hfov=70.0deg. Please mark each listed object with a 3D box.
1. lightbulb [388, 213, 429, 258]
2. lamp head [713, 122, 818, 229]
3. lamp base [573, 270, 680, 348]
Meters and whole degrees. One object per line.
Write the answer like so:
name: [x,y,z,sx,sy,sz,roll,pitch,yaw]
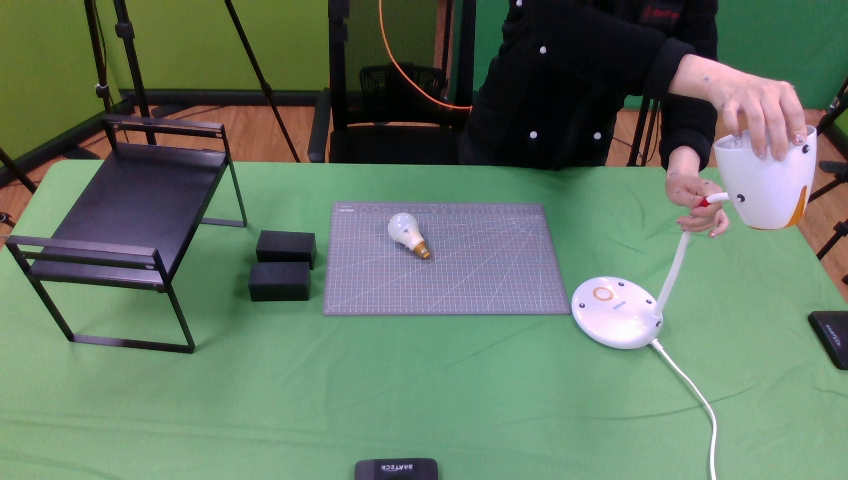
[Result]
lightbulb: [-0.027,-0.007,1.179,0.059,0.060,0.107,-31,71,-29]
lamp head: [0.422,-0.075,0.751,0.112,0.123,0.112,-12,21,5]
lamp base: [0.361,0.081,1.034,0.160,0.181,0.178,-34,59,-30]
